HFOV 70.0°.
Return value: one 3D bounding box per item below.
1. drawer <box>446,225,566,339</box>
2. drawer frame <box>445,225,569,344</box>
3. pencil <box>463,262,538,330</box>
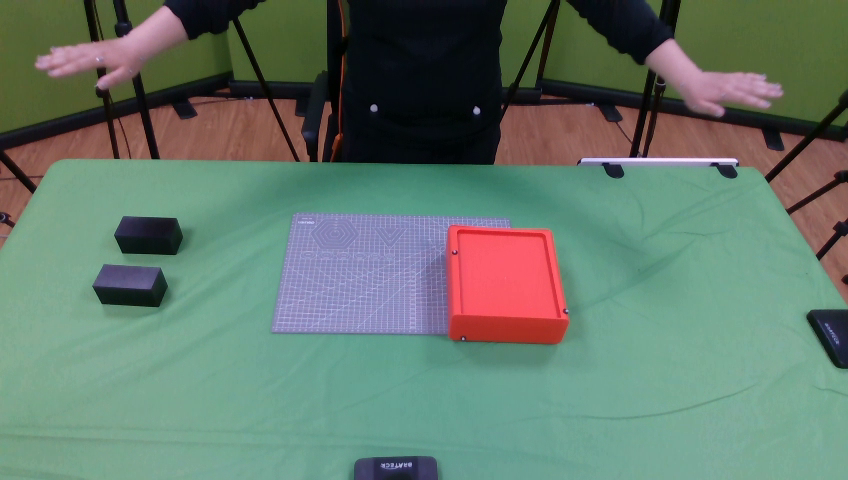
[{"bbox_3d":[0.139,0.073,1.094,0.194,0.073,0.210,3,47,-3],"label":"drawer"},{"bbox_3d":[0.141,0.076,1.089,0.202,0.083,0.212,2,47,-4],"label":"drawer frame"},{"bbox_3d":[0.135,0.098,1.098,0.012,0.012,0.193,-29,54,-28],"label":"pencil"}]
